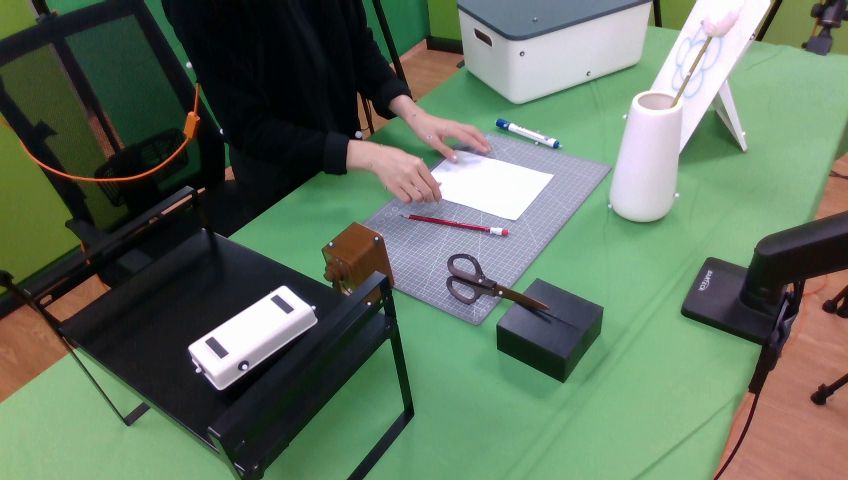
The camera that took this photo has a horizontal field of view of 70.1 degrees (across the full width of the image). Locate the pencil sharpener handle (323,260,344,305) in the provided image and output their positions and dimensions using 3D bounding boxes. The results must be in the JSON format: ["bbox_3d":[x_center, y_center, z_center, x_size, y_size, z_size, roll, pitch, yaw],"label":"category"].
[{"bbox_3d":[-0.131,0.062,0.839,0.035,0.068,0.031,29,56,28],"label":"pencil sharpener handle"}]

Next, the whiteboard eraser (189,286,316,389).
[{"bbox_3d":[-0.166,0.096,0.593,0.113,0.042,0.055,-36,47,-29],"label":"whiteboard eraser"}]

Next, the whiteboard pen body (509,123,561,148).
[{"bbox_3d":[0.209,-0.211,1.196,0.139,0.017,0.017,30,52,33],"label":"whiteboard pen body"}]

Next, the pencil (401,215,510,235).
[{"bbox_3d":[0.049,-0.027,1.006,0.193,0.012,0.012,10,43,21],"label":"pencil"}]

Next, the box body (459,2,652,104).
[{"bbox_3d":[0.291,-0.465,1.371,0.365,0.161,0.252,-22,42,-16],"label":"box body"}]

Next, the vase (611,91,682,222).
[{"bbox_3d":[0.348,-0.125,0.935,0.098,0.201,0.097,-3,40,3],"label":"vase"}]

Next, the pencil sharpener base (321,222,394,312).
[{"bbox_3d":[-0.096,0.041,0.873,0.061,0.107,0.077,25,54,32],"label":"pencil sharpener base"}]

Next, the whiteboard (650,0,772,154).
[{"bbox_3d":[0.543,-0.298,1.076,0.144,0.305,0.216,12,40,-7],"label":"whiteboard"}]

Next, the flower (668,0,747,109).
[{"bbox_3d":[0.354,-0.187,0.879,0.038,0.362,0.044,30,48,14],"label":"flower"}]

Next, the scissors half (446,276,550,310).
[{"bbox_3d":[0.098,0.077,0.827,0.174,0.040,0.013,6,14,44],"label":"scissors half"}]

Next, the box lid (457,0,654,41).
[{"bbox_3d":[0.285,-0.522,1.323,0.373,0.015,0.261,-22,43,-16],"label":"box lid"}]

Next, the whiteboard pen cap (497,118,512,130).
[{"bbox_3d":[0.165,-0.235,1.227,0.033,0.018,0.018,31,53,31],"label":"whiteboard pen cap"}]

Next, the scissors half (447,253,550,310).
[{"bbox_3d":[0.098,0.058,0.821,0.173,0.040,0.013,27,33,37],"label":"scissors half"}]
